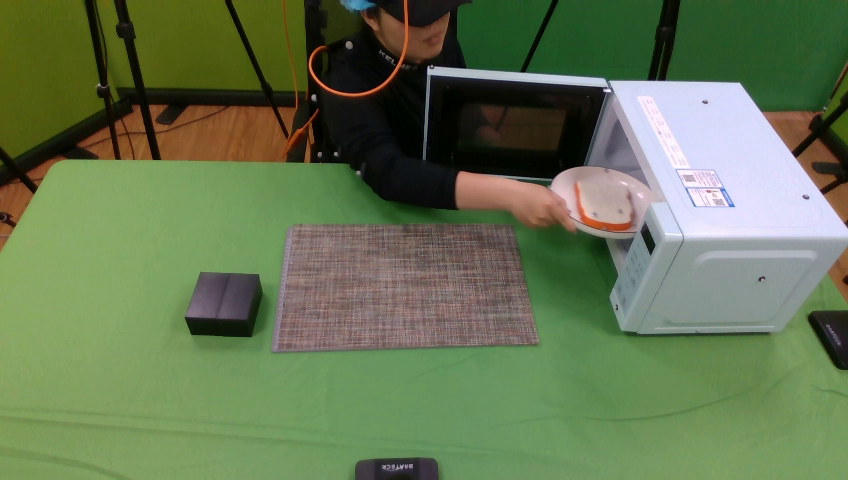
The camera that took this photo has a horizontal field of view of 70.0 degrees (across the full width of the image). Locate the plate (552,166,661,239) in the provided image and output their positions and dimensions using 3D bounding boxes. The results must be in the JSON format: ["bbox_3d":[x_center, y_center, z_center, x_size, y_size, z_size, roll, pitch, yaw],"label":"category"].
[{"bbox_3d":[0.343,-0.068,1.145,0.209,0.038,0.208,4,41,-3],"label":"plate"}]

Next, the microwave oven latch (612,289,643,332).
[{"bbox_3d":[0.357,0.124,1.068,0.030,0.029,0.078,0,45,-3],"label":"microwave oven latch"}]

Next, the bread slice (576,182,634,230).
[{"bbox_3d":[0.347,-0.066,1.147,0.105,0.019,0.131,7,41,3],"label":"bread slice"}]

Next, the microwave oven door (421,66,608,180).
[{"bbox_3d":[0.177,-0.236,1.263,0.356,0.245,0.039,4,46,0],"label":"microwave oven door"}]

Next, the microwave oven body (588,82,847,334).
[{"bbox_3d":[0.501,-0.070,1.132,0.326,0.261,0.438,-1,45,-3],"label":"microwave oven body"}]
